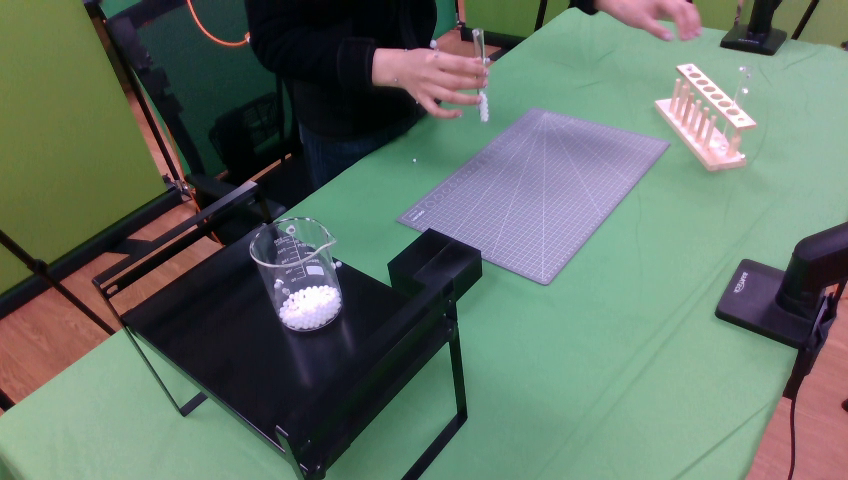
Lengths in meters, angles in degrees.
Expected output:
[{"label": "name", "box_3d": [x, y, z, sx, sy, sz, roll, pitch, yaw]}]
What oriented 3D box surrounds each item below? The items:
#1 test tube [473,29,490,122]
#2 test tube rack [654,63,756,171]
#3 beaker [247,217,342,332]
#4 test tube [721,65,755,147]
[{"label": "test tube", "box_3d": [0.087, -0.245, 0.914, 0.017, 0.151, 0.017, -6, 42, 6]}, {"label": "test tube rack", "box_3d": [0.511, -0.233, 1.120, 0.067, 0.085, 0.241, -9, 41, -1]}, {"label": "beaker", "box_3d": [-0.124, 0.037, 0.614, 0.084, 0.101, 0.073, -7, 41, 0]}, {"label": "test tube", "box_3d": [0.534, -0.226, 1.032, 0.017, 0.151, 0.017, -2, 40, 2]}]
